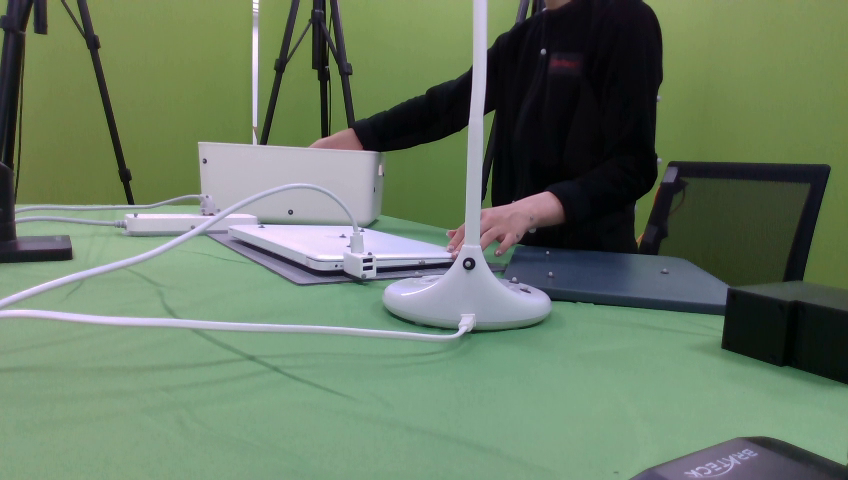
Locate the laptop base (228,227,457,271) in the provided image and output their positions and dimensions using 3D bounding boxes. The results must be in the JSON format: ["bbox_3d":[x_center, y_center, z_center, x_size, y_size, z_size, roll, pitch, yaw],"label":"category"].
[{"bbox_3d":[-0.122,0.011,0.889,0.237,0.023,0.352,2,6,-35],"label":"laptop base"}]

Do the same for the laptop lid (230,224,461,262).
[{"bbox_3d":[-0.120,0.000,0.889,0.243,0.013,0.355,1,7,-33],"label":"laptop lid"}]

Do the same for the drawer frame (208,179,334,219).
[{"bbox_3d":[-0.327,-0.093,1.328,0.213,0.082,0.202,-1,5,6],"label":"drawer frame"}]

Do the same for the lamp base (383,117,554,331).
[{"bbox_3d":[0.045,-0.019,0.547,0.161,0.180,0.179,2,10,-4],"label":"lamp base"}]

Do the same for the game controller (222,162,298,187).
[{"bbox_3d":[-0.357,-0.143,1.322,0.156,0.051,0.097,1,3,-17],"label":"game controller"}]

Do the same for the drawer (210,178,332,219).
[{"bbox_3d":[-0.328,-0.096,1.332,0.212,0.073,0.194,6,8,6],"label":"drawer"}]

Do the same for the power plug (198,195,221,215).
[{"bbox_3d":[-0.387,-0.055,1.089,0.035,0.052,0.072,-1,7,-22],"label":"power plug"}]

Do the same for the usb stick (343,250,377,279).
[{"bbox_3d":[-0.076,0.026,0.687,0.021,0.027,0.059,-8,8,-31],"label":"usb stick"}]

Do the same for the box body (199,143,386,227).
[{"bbox_3d":[-0.276,-0.124,1.335,0.364,0.160,0.254,3,7,1],"label":"box body"}]

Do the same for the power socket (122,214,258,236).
[{"bbox_3d":[-0.398,-0.028,1.049,0.228,0.032,0.072,-3,8,-34],"label":"power socket"}]

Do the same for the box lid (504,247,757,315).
[{"bbox_3d":[0.244,0.044,0.793,0.263,0.015,0.372,4,7,10],"label":"box lid"}]
